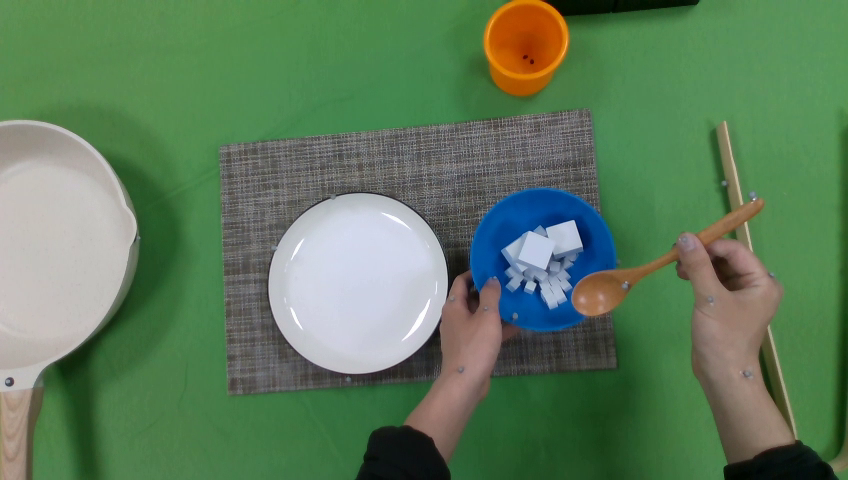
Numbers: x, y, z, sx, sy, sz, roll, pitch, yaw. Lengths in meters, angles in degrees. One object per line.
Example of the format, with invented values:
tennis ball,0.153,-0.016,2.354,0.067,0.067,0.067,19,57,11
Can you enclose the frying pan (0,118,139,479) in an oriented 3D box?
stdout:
frying pan,-0.460,0.106,0.691,0.307,0.103,0.485,-7,76,5

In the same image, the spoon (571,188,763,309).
spoon,0.207,0.012,0.534,0.041,0.021,0.194,50,133,0

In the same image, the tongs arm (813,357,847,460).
tongs arm,0.450,0.041,0.656,0.051,0.026,0.384,2,86,6

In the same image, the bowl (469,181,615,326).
bowl,0.124,0.017,0.659,0.151,0.077,0.151,0,84,5

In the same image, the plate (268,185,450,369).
plate,-0.072,0.042,0.694,0.207,0.039,0.207,-1,85,5

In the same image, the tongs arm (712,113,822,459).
tongs arm,0.370,0.046,0.667,0.028,0.028,0.386,-11,84,2
